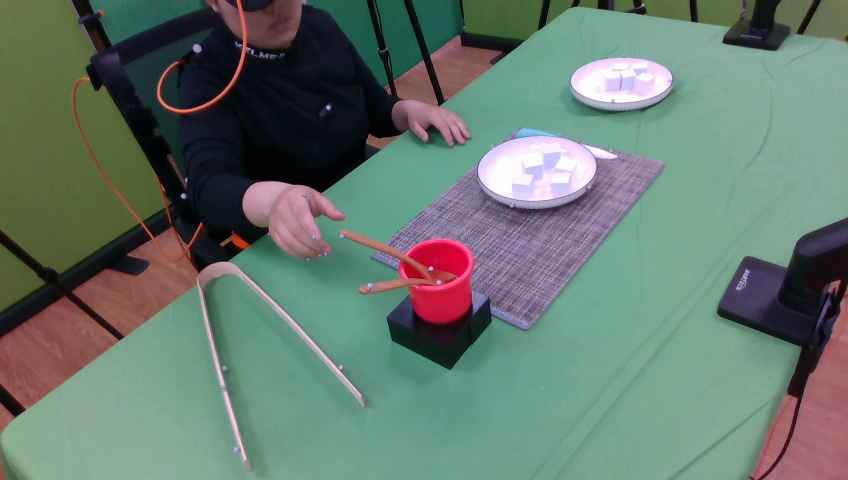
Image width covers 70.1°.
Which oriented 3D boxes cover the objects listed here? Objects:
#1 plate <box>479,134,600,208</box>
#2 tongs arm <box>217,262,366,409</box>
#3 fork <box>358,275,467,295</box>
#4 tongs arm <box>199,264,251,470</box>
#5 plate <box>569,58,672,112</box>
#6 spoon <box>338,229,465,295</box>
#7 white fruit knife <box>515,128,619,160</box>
[{"bbox_3d":[0.202,-0.117,1.065,0.207,0.039,0.206,-5,40,5],"label":"plate"},{"bbox_3d":[-0.200,0.124,0.872,0.028,0.028,0.384,-35,46,-25],"label":"tongs arm"},{"bbox_3d":[-0.009,0.056,0.739,0.028,0.018,0.209,48,23,26],"label":"fork"},{"bbox_3d":[-0.270,0.154,0.841,0.051,0.026,0.381,-22,40,-18],"label":"tongs arm"},{"bbox_3d":[0.411,-0.323,1.274,0.209,0.038,0.208,-5,41,5],"label":"plate"},{"bbox_3d":[-0.025,0.026,0.776,0.021,0.195,0.041,-41,34,31],"label":"spoon"},{"bbox_3d":[0.269,-0.182,1.148,0.206,0.016,0.027,21,77,29],"label":"white fruit knife"}]
